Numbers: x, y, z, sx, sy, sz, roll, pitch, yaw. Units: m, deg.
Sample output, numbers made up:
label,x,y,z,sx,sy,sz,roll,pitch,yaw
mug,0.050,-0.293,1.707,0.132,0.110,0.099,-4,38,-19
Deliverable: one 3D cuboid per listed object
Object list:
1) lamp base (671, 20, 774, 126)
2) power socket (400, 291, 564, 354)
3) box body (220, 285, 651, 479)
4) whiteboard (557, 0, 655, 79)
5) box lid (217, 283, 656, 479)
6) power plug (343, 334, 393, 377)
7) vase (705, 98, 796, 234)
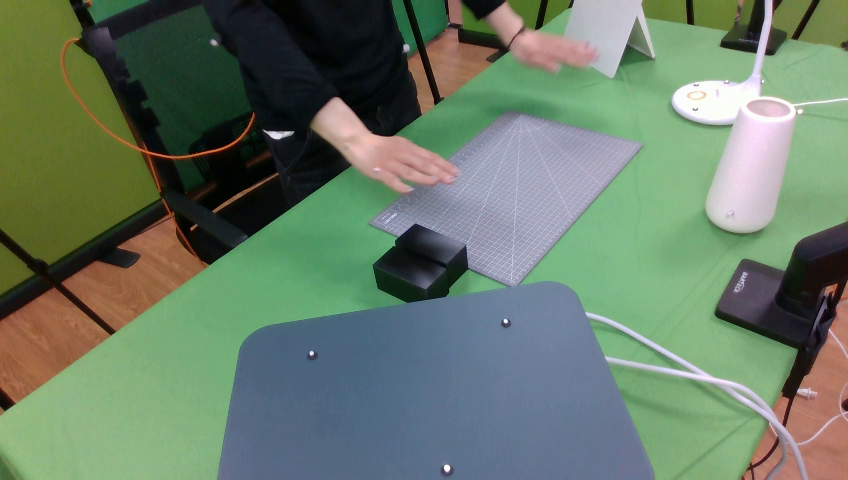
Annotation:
label,x,y,z,sx,sy,sz,roll,pitch,yaw
lamp base,0.581,-0.332,1.154,0.179,0.181,0.160,2,41,7
power socket,0.079,0.111,0.823,0.227,0.033,0.072,-5,41,2
box body,0.005,0.211,0.616,0.364,0.161,0.252,-9,40,-2
whiteboard,0.462,-0.542,1.367,0.145,0.306,0.215,-3,36,-25
box lid,-0.004,0.155,0.568,0.372,0.015,0.261,-8,39,-2
power plug,-0.075,0.156,0.808,0.073,0.035,0.052,34,35,-14
vase,0.480,-0.104,0.889,0.098,0.201,0.097,-4,42,4
